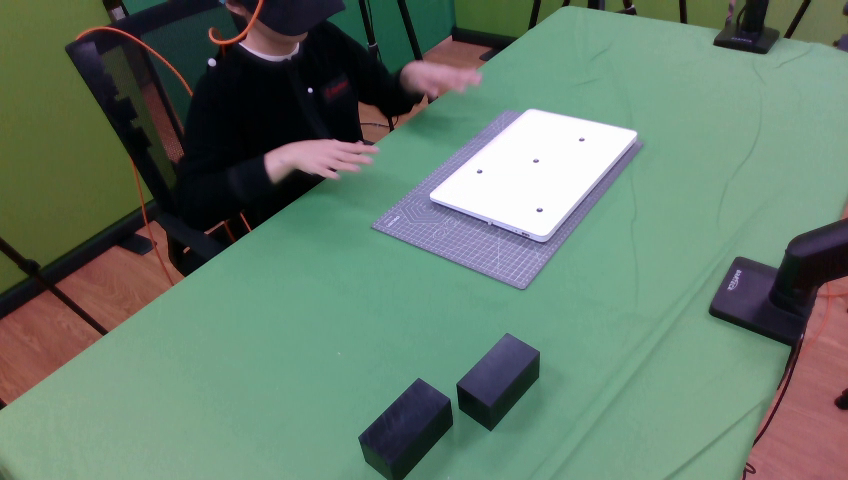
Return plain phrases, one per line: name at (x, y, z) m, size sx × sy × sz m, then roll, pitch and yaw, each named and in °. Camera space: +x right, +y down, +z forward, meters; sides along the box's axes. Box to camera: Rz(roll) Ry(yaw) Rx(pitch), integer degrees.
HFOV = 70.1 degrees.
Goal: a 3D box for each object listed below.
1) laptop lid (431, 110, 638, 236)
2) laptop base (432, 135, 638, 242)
laptop lid at (0.205, -0.138, 1.092) m, size 0.239 × 0.013 × 0.358 m, roll 23°, pitch 49°, yaw 34°
laptop base at (0.208, -0.129, 1.098) m, size 0.233 × 0.023 × 0.355 m, roll 20°, pitch 47°, yaw 33°
